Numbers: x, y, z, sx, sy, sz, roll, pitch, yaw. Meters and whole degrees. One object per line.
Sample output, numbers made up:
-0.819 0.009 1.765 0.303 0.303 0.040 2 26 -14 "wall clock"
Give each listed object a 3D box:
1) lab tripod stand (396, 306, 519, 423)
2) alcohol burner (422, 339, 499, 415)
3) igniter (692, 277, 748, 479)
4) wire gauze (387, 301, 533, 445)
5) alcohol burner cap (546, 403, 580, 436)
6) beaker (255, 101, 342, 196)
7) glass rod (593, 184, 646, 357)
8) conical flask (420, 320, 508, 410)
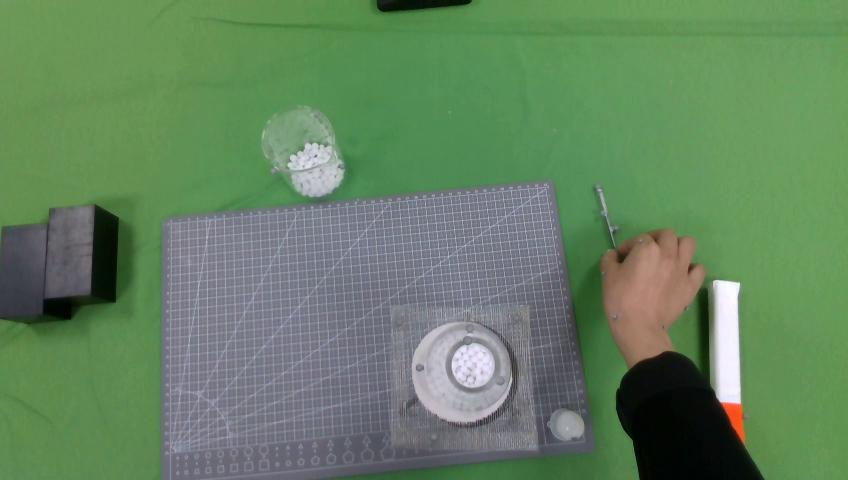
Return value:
0.034 0.130 0.584 0.148 0.132 0.147 0 78 2 "lab tripod stand"
0.036 0.134 0.593 0.078 0.119 0.077 -1 76 3 "alcohol burner"
0.305 0.175 0.627 0.057 0.025 0.275 8 76 -8 "igniter"
0.030 0.113 0.520 0.125 0.011 0.121 0 79 -1 "wire gauze"
0.144 0.184 0.616 0.034 0.048 0.033 0 76 2 "alcohol burner cap"
-0.129 -0.094 0.661 0.084 0.100 0.074 30 79 7 "beaker"
0.215 0.031 0.671 0.008 0.008 0.198 -11 76 -2 "glass rod"
0.033 0.095 0.464 0.075 0.122 0.075 0 78 1 "conical flask"
